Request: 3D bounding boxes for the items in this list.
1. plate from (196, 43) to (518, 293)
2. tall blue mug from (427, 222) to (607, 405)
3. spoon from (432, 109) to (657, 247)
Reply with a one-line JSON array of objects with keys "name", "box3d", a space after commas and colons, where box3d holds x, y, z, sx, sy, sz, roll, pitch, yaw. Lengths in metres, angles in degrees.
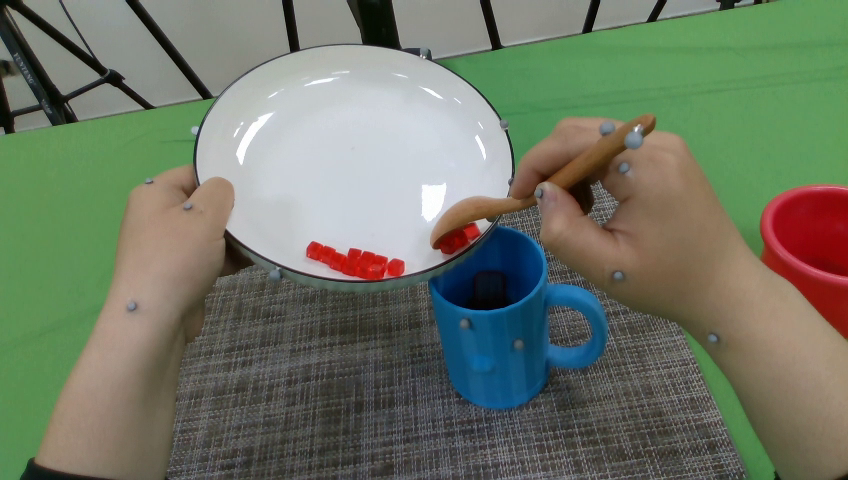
[{"name": "plate", "box3d": [-0.042, -0.051, 0.410, 0.208, 0.039, 0.205, 3, 56, -5]}, {"name": "tall blue mug", "box3d": [0.062, 0.049, 0.416, 0.107, 0.109, 0.077, -14, 43, -2]}, {"name": "spoon", "box3d": [0.049, -0.024, 0.303, 0.041, 0.021, 0.193, -34, 5, -25]}]
